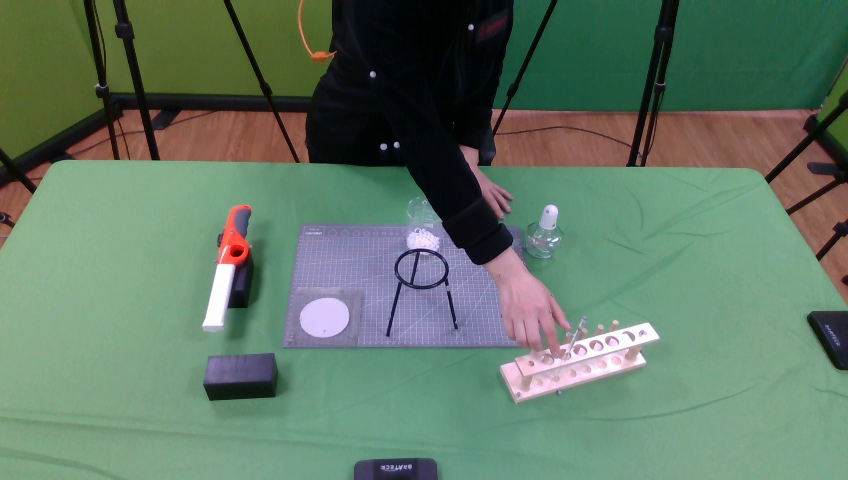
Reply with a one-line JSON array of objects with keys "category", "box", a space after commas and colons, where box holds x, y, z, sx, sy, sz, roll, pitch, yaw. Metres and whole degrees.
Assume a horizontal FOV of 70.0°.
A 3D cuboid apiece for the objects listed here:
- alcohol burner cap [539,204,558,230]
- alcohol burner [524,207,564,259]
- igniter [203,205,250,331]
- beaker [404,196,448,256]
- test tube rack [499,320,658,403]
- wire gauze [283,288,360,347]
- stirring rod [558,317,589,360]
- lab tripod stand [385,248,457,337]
[{"category": "alcohol burner cap", "box": [0.238, -0.045, 1.148, 0.034, 0.048, 0.033, 2, 43, -1]}, {"category": "alcohol burner", "box": [0.236, -0.020, 1.174, 0.078, 0.120, 0.077, 1, 48, -1]}, {"category": "igniter", "box": [-0.345, 0.039, 1.065, 0.057, 0.025, 0.274, 2, 48, -6]}, {"category": "beaker", "box": [0.001, -0.024, 1.164, 0.084, 0.101, 0.073, 6, 46, 0]}, {"category": "test tube rack", "box": [0.252, 0.187, 0.994, 0.243, 0.085, 0.066, -12, 48, -15]}, {"category": "wire gauze", "box": [-0.178, 0.132, 1.063, 0.125, 0.011, 0.120, 2, 47, 1]}, {"category": "stirring rod", "box": [0.221, 0.155, 0.912, 0.014, 0.177, 0.006, 5, 58, 2]}, {"category": "lab tripod stand", "box": [-0.010, 0.087, 1.032, 0.148, 0.132, 0.147, 1, 45, -1]}]
